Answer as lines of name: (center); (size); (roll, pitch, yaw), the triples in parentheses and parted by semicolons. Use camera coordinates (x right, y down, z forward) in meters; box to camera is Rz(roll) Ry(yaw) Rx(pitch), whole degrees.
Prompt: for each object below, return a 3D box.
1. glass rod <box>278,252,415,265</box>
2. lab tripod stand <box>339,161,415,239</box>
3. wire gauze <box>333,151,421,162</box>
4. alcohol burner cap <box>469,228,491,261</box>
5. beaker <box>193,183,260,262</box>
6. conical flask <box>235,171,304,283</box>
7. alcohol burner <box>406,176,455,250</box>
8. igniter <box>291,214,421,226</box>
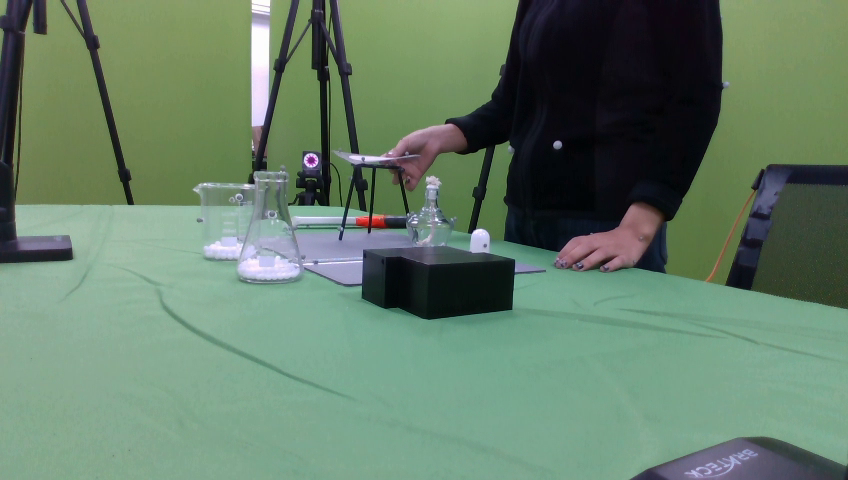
glass rod: (-0.097, 0.024, 0.805); (0.201, 0.008, 0.008); (-3, 8, -33)
lab tripod stand: (-0.082, -0.070, 1.059); (0.148, 0.131, 0.148); (4, 6, 0)
wire gauze: (-0.084, -0.146, 1.048); (0.122, 0.011, 0.124); (-5, 14, -27)
alcohol burner cap: (0.082, 0.006, 0.878); (0.034, 0.048, 0.034); (2, 7, 0)
beaker: (-0.262, -0.025, 0.806); (0.084, 0.100, 0.073); (-3, 9, -30)
conical flask: (-0.172, -0.016, 0.677); (0.075, 0.122, 0.075); (2, 7, 0)
alcohol burner: (0.012, -0.044, 0.963); (0.078, 0.119, 0.078); (4, 7, 0)
igniter: (-0.135, -0.041, 1.250); (0.278, 0.025, 0.057); (-1, -2, -28)
